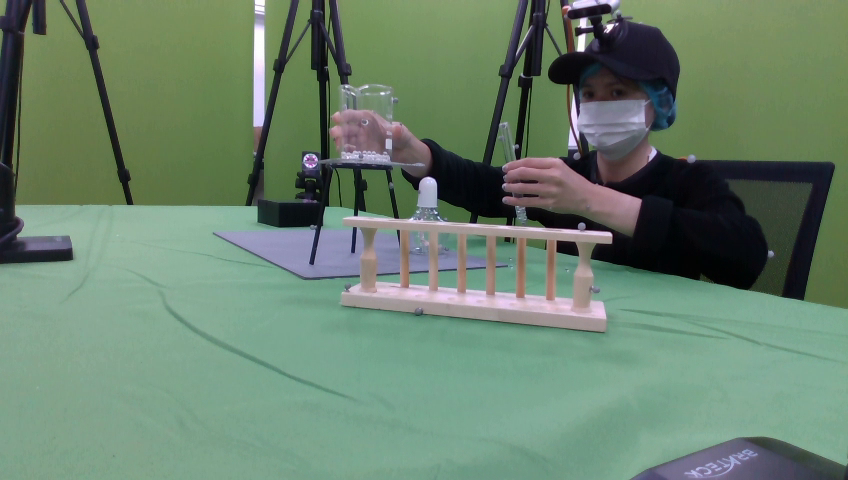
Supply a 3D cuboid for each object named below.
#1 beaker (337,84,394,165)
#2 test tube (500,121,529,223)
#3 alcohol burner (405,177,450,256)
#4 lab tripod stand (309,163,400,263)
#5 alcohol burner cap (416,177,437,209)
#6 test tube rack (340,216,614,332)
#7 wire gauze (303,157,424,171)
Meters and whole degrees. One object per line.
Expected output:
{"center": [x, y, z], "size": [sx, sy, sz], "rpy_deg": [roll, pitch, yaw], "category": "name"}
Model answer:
{"center": [-0.077, -0.149, 0.792], "size": [0.074, 0.100, 0.084], "rpy_deg": [1, 6, 9], "category": "beaker"}
{"center": [0.132, -0.099, 0.881], "size": [0.017, 0.150, 0.017], "rpy_deg": [-12, 6, 1], "category": "test tube"}
{"center": [0.004, -0.036, 0.917], "size": [0.078, 0.119, 0.078], "rpy_deg": [3, 6, 0], "category": "alcohol burner"}
{"center": [-0.091, -0.037, 0.813], "size": [0.148, 0.131, 0.148], "rpy_deg": [1, 6, 0], "category": "lab tripod stand"}
{"center": [0.005, -0.072, 0.914], "size": [0.034, 0.048, 0.034], "rpy_deg": [4, 10, 0], "category": "alcohol burner cap"}
{"center": [0.048, 0.026, 0.568], "size": [0.242, 0.085, 0.067], "rpy_deg": [4, 7, 13], "category": "test tube rack"}
{"center": [-0.082, -0.101, 0.799], "size": [0.126, 0.011, 0.121], "rpy_deg": [1, 7, -30], "category": "wire gauze"}
